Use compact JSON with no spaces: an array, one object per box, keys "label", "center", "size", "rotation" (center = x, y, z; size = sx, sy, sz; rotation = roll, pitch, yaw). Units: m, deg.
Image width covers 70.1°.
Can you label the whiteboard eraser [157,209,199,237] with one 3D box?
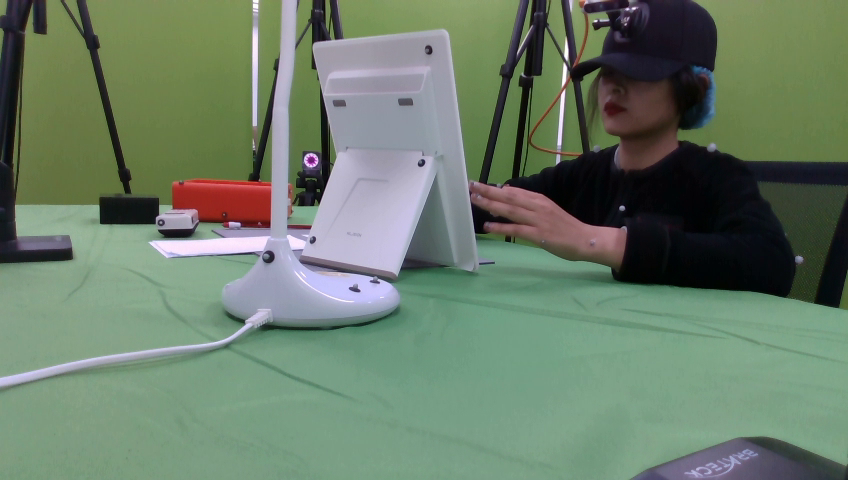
[{"label":"whiteboard eraser","center":[-0.411,-0.029,1.016],"size":[0.056,0.042,0.112],"rotation":[2,7,-16]}]

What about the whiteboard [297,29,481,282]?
[{"label":"whiteboard","center":[-0.076,-0.082,0.741],"size":[0.216,0.305,0.144],"rotation":[9,29,37]}]

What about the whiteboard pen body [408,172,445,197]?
[{"label":"whiteboard pen body","center":[0.003,-0.082,0.908],"size":[0.017,0.017,0.141],"rotation":[5,19,20]}]

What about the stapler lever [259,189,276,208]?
[{"label":"stapler lever","center":[-0.335,-0.090,1.300],"size":[0.027,0.040,0.118],"rotation":[15,4,-10]}]

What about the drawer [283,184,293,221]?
[{"label":"drawer","center":[-0.396,-0.085,1.301],"size":[0.212,0.073,0.194],"rotation":[1,8,-7]}]

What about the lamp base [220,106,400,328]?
[{"label":"lamp base","center":[-0.101,-0.023,0.531],"size":[0.160,0.180,0.179],"rotation":[4,10,10]}]

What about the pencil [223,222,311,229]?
[{"label":"pencil","center":[-0.274,-0.026,1.132],"size":[0.195,0.012,0.012],"rotation":[1,8,-25]}]

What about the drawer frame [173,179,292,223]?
[{"label":"drawer frame","center":[-0.400,-0.086,1.300],"size":[0.214,0.082,0.201],"rotation":[1,8,-8]}]

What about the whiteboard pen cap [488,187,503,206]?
[{"label":"whiteboard pen cap","center":[0.093,-0.058,0.794],"size":[0.018,0.018,0.033],"rotation":[2,23,-3]}]

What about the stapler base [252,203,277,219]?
[{"label":"stapler base","center":[-0.341,-0.065,1.301],"size":[0.041,0.024,0.130],"rotation":[15,5,-10]}]
